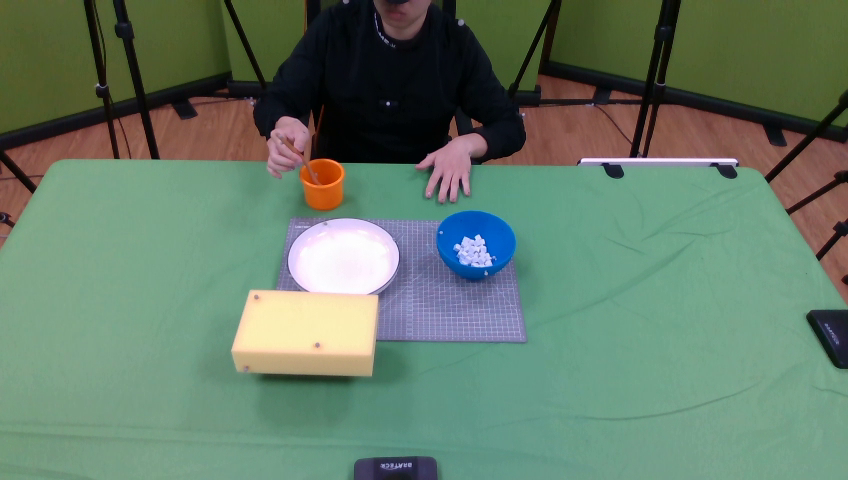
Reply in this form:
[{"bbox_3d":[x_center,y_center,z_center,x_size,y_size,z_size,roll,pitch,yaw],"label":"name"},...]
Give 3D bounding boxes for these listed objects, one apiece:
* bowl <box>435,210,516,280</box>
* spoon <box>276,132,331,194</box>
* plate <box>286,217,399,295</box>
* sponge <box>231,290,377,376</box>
[{"bbox_3d":[0.093,0.022,1.141,0.151,0.077,0.150,2,46,-2],"label":"bowl"},{"bbox_3d":[-0.235,-0.149,1.186,0.021,0.195,0.041,-38,51,-6],"label":"spoon"},{"bbox_3d":[-0.150,0.041,1.131,0.209,0.038,0.208,2,45,-2],"label":"plate"},{"bbox_3d":[-0.180,0.144,0.949,0.207,0.061,0.117,2,46,-2],"label":"sponge"}]
